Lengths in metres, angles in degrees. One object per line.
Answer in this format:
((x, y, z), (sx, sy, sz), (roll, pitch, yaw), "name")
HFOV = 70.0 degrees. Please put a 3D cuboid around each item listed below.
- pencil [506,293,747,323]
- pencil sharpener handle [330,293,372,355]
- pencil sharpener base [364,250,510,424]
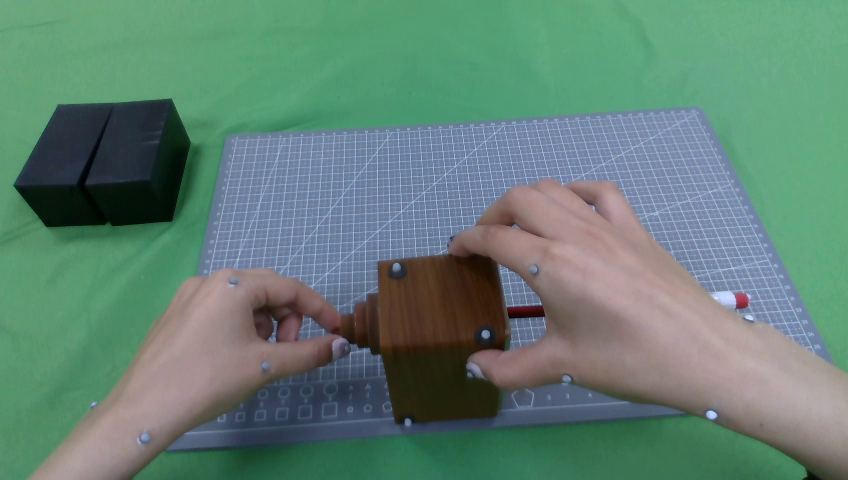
((0.093, 0.042, 0.352), (0.194, 0.012, 0.012), (-3, 51, -3), "pencil")
((-0.045, 0.054, 0.361), (0.030, 0.068, 0.036), (-5, 73, -1), "pencil sharpener handle")
((0.007, 0.063, 0.369), (0.077, 0.108, 0.060), (-5, 51, -1), "pencil sharpener base")
